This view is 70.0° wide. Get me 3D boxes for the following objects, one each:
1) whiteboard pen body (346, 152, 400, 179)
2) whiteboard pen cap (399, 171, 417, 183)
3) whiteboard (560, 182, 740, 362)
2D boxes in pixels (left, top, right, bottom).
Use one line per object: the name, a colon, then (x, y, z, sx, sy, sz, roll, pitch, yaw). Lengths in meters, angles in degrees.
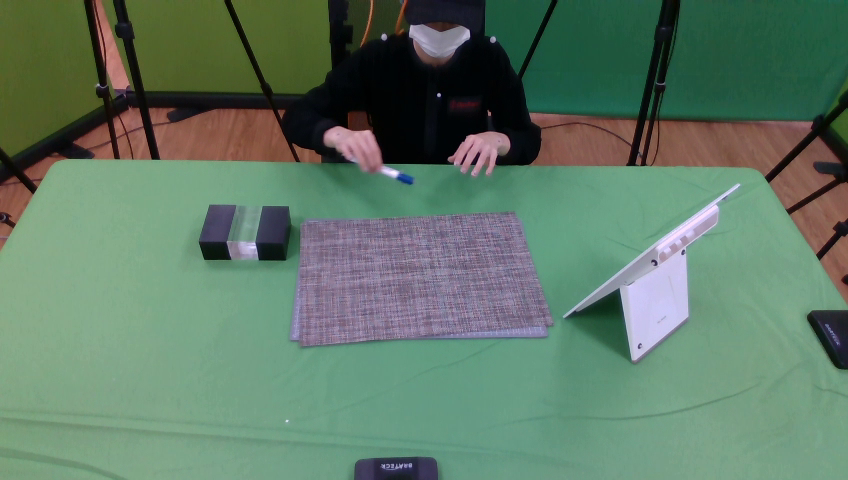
whiteboard pen body: (-0.089, -0.144, 1.193, 0.140, 0.017, 0.017, 23, 49, 11)
whiteboard pen cap: (-0.032, -0.124, 1.182, 0.033, 0.018, 0.018, 22, 48, 10)
whiteboard: (0.406, 0.075, 1.001, 0.217, 0.306, 0.143, -28, 73, -28)
